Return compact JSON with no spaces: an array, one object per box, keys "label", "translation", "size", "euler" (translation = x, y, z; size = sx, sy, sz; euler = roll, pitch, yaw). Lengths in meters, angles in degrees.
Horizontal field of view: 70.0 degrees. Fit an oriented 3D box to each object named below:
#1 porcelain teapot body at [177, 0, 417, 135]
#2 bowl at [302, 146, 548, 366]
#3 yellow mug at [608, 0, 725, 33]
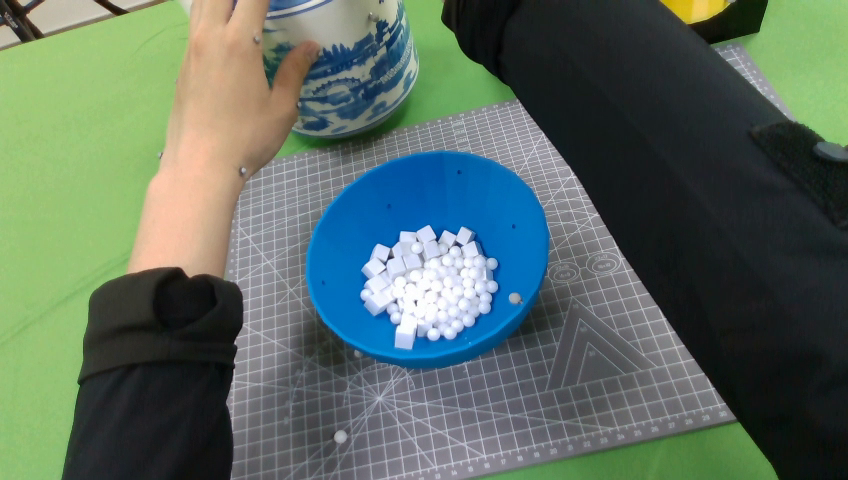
[{"label":"porcelain teapot body","translation":[-0.124,-0.198,0.481],"size":[0.205,0.227,0.144],"euler":[-3,58,12]},{"label":"bowl","translation":[0.005,0.021,0.394],"size":[0.151,0.077,0.150],"euler":[-6,56,8]},{"label":"yellow mug","translation":[0.184,-0.213,0.458],"size":[0.099,0.064,0.130],"euler":[17,64,22]}]
